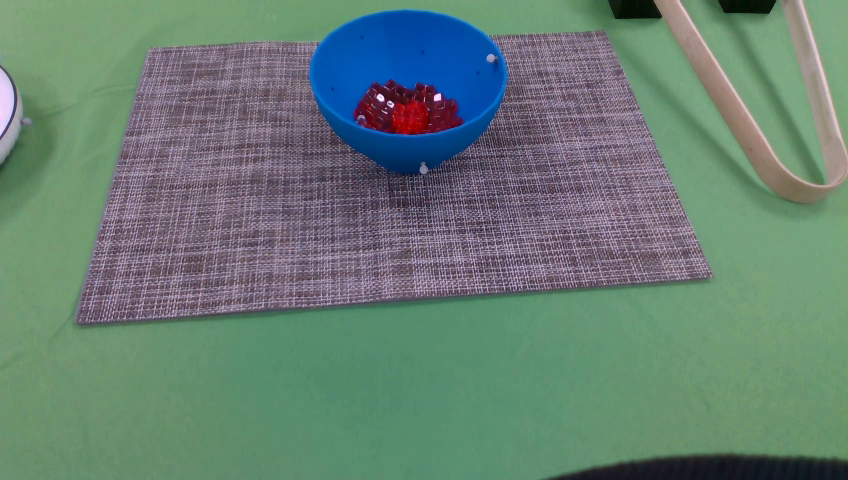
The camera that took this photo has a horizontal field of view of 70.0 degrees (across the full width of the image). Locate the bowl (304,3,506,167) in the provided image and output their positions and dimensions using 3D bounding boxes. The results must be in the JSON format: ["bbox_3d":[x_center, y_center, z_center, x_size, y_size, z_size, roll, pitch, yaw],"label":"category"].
[{"bbox_3d":[-0.015,-0.112,0.486,0.151,0.077,0.150,1,54,-1],"label":"bowl"}]

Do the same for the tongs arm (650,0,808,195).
[{"bbox_3d":[0.236,-0.208,0.557,0.028,0.028,0.384,-12,67,-14],"label":"tongs arm"}]

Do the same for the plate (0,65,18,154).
[{"bbox_3d":[-0.430,-0.079,0.476,0.209,0.038,0.207,1,55,-2],"label":"plate"}]

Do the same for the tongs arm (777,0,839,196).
[{"bbox_3d":[0.325,-0.215,0.566,0.051,0.027,0.381,2,66,-4],"label":"tongs arm"}]
